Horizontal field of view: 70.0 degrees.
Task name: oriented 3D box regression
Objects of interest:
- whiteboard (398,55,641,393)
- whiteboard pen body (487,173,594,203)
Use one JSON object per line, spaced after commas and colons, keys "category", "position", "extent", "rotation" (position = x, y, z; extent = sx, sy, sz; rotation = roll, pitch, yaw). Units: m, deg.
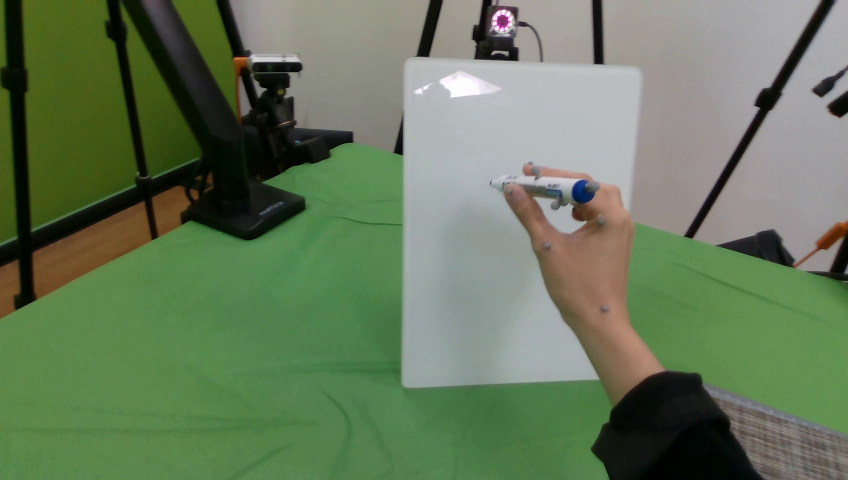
{"category": "whiteboard", "position": [0.076, -0.021, 0.620], "extent": [0.218, 0.306, 0.143], "rotation": [-1, 13, -9]}
{"category": "whiteboard pen body", "position": [0.078, -0.040, 0.443], "extent": [0.017, 0.017, 0.140], "rotation": [-7, 10, -19]}
